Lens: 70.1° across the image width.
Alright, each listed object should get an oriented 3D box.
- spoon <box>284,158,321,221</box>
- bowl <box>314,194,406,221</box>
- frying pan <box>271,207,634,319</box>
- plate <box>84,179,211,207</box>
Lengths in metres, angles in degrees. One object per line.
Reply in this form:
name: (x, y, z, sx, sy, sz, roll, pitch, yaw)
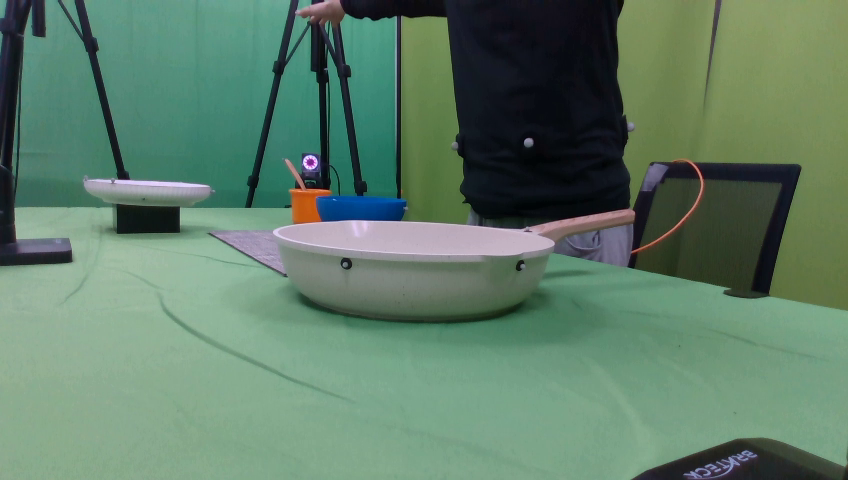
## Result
spoon: (-0.269, -0.113, 1.335, 0.042, 0.193, 0.021, -3, -35, -43)
bowl: (-0.105, -0.032, 0.991, 0.151, 0.077, 0.151, 3, 7, 0)
frying pan: (0.076, 0.003, 0.695, 0.490, 0.102, 0.305, -12, 14, -30)
plate: (-0.495, -0.085, 1.093, 0.208, 0.039, 0.207, 4, 7, 0)
